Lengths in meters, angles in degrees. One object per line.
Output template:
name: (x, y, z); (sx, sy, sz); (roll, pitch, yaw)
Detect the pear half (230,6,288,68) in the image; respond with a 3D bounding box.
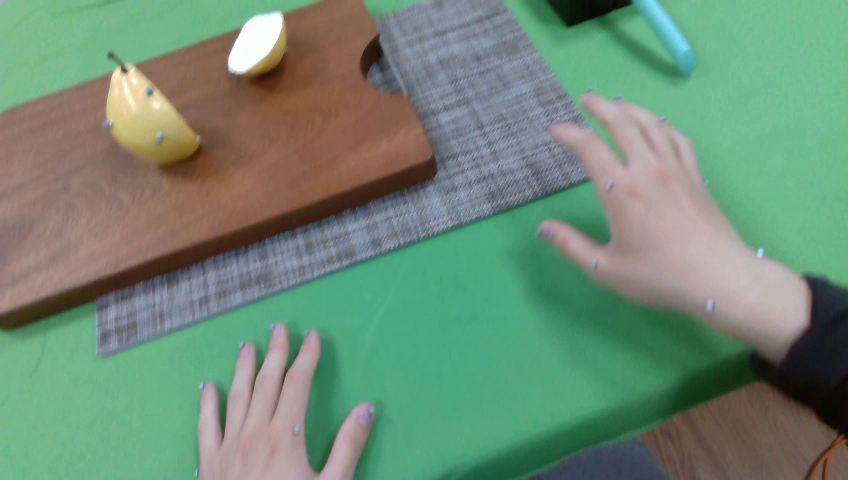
pear half: (-0.156, -0.195, 0.594); (0.070, 0.031, 0.087); (-30, 42, 10)

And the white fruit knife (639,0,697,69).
white fruit knife: (0.193, -0.246, 0.564); (0.016, 0.027, 0.206); (-28, 73, 3)

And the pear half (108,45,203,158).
pear half: (-0.242, -0.115, 0.514); (0.075, 0.111, 0.056); (32, 68, 31)
